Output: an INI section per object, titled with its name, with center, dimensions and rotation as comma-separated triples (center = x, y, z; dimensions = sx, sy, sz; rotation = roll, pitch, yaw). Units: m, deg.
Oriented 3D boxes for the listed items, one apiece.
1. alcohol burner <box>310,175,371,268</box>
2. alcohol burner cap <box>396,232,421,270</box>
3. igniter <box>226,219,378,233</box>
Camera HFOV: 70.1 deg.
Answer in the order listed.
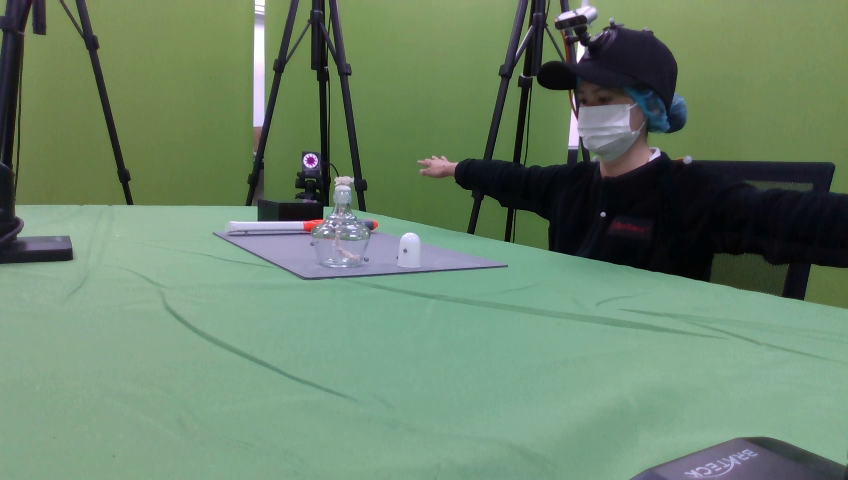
[alcohol burner]
center = -0.107, -0.024, 0.778
dimensions = 0.078, 0.119, 0.078
rotation = 3, 5, 0
[alcohol burner cap]
center = -0.020, 0.014, 0.795
dimensions = 0.034, 0.048, 0.034
rotation = 2, 7, 0
[igniter]
center = -0.213, -0.025, 1.092
dimensions = 0.278, 0.025, 0.057
rotation = -2, -2, -32
